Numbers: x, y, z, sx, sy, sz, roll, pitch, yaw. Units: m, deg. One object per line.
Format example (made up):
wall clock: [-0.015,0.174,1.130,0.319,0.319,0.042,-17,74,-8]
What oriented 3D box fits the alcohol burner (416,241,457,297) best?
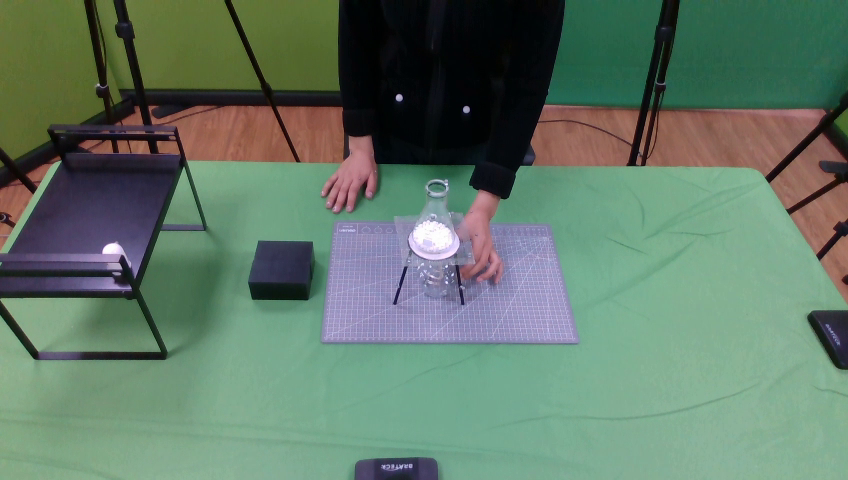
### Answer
alcohol burner: [0.024,0.047,1.088,0.078,0.120,0.077,1,47,-1]

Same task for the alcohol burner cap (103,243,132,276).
alcohol burner cap: [-0.446,0.025,0.875,0.034,0.048,0.033,3,46,-3]

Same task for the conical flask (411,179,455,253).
conical flask: [0.017,-0.042,0.985,0.075,0.122,0.075,2,47,-1]

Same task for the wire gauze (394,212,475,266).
wire gauze: [0.015,-0.001,1.029,0.125,0.011,0.120,-5,45,-5]

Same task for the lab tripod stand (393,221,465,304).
lab tripod stand: [0.010,0.046,1.074,0.148,0.132,0.147,2,48,-2]
